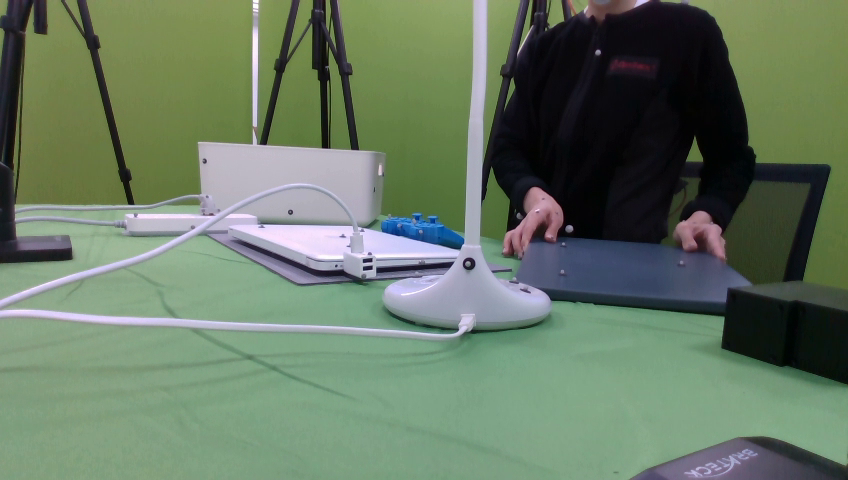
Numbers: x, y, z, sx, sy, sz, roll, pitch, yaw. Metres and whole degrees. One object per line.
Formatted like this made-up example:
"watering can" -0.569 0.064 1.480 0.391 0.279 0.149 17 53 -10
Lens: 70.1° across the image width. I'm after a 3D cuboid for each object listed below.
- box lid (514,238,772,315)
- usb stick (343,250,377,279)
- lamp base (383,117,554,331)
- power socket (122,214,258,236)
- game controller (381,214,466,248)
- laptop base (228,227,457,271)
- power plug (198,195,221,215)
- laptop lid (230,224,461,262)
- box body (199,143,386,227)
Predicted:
"box lid" 0.261 0.036 0.786 0.263 0.015 0.372 3 9 13
"usb stick" -0.076 0.026 0.687 0.021 0.027 0.059 -8 8 -31
"lamp base" 0.045 -0.019 0.547 0.161 0.180 0.179 2 10 -4
"power socket" -0.398 -0.028 1.049 0.228 0.032 0.072 -3 8 -34
"game controller" -0.006 -0.017 1.039 0.097 0.051 0.154 -5 10 -33
"laptop base" -0.122 0.011 0.889 0.237 0.023 0.352 2 6 -35
"power plug" -0.387 -0.055 1.089 0.035 0.052 0.072 -1 7 -22
"laptop lid" -0.120 0.000 0.888 0.243 0.013 0.355 1 7 -33
"box body" -0.277 -0.124 1.334 0.364 0.160 0.254 3 7 1
